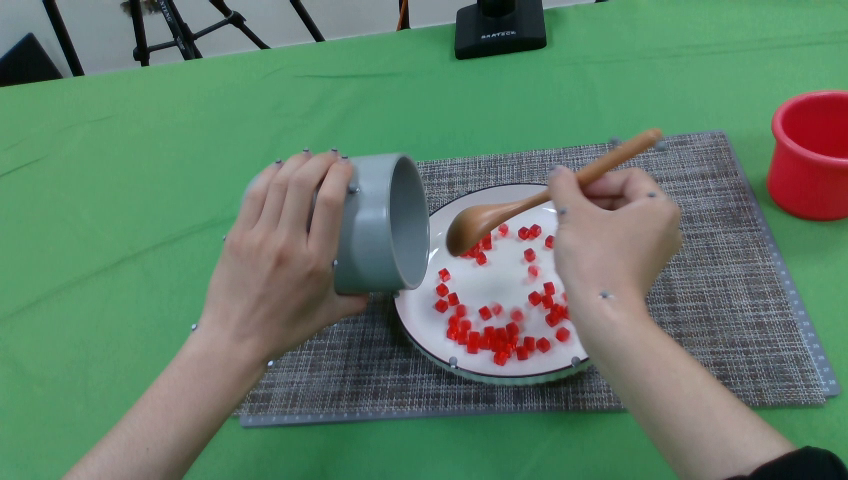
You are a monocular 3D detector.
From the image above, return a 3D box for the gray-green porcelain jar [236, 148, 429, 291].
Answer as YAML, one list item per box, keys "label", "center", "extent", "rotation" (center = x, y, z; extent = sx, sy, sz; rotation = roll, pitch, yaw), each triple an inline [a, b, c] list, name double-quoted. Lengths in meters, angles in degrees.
- label: "gray-green porcelain jar"
  center: [-0.070, -0.013, 0.471]
  extent: [0.126, 0.107, 0.105]
  rotation: [-3, 48, 15]

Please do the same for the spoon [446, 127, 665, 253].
- label: "spoon"
  center: [0.086, -0.035, 0.447]
  extent: [0.193, 0.022, 0.041]
  rotation: [-25, 45, 35]

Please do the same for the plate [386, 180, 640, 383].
- label: "plate"
  center: [0.073, 0.033, 0.514]
  extent: [0.207, 0.039, 0.205]
  rotation: [-7, 47, 8]

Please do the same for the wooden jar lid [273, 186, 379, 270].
- label: "wooden jar lid"
  center: [-0.097, -0.011, 0.608]
  extent: [0.108, 0.021, 0.107]
  rotation: [-6, 46, 7]
